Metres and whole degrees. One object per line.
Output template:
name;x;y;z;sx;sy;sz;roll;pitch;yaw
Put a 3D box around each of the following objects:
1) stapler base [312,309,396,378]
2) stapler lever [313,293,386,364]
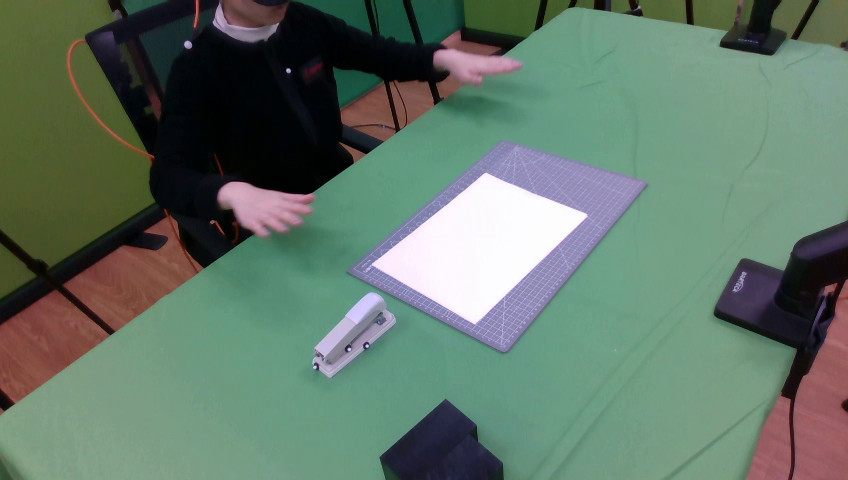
stapler base;-0.096;0.133;0.831;0.041;0.024;0.131;26;51;36
stapler lever;-0.099;0.116;0.814;0.026;0.040;0.118;25;51;36
